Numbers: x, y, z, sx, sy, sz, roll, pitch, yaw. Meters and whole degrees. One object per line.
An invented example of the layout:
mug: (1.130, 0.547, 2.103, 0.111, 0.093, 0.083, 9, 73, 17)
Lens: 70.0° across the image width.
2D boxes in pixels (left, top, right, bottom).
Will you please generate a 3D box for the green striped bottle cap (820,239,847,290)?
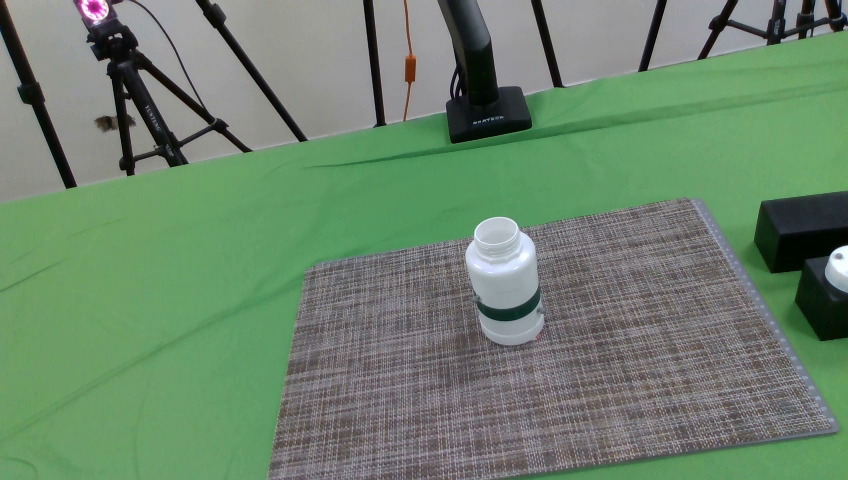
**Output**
green striped bottle cap: (0.350, 0.020, 0.492, 0.044, 0.020, 0.044, -7, 41, 6)

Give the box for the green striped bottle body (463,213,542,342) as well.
green striped bottle body: (0.072, 0.033, 0.556, 0.063, 0.120, 0.062, -9, 40, 8)
